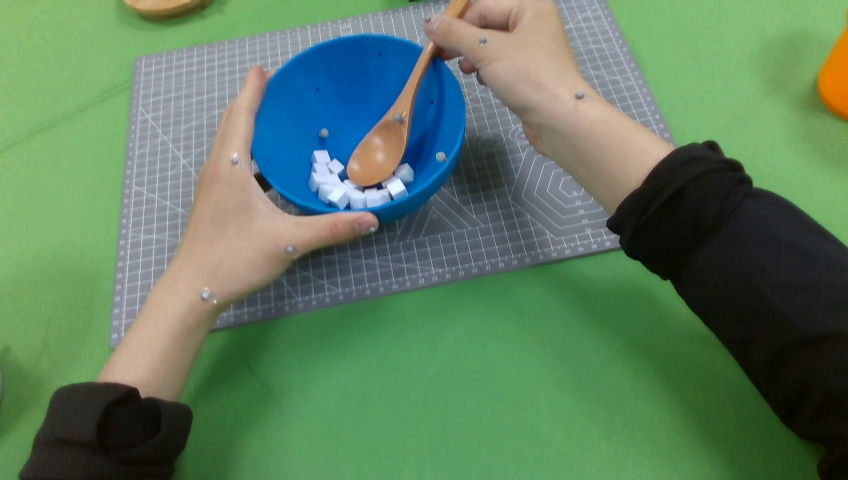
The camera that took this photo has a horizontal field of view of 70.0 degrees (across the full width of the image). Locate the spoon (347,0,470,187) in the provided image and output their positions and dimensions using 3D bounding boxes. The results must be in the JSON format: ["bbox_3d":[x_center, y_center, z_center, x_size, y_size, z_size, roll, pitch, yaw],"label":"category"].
[{"bbox_3d":[0.000,-0.123,0.432,0.041,0.022,0.194,36,102,34],"label":"spoon"}]

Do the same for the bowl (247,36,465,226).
[{"bbox_3d":[-0.044,-0.067,0.447,0.151,0.077,0.150,-2,64,4],"label":"bowl"}]

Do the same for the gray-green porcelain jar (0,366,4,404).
[{"bbox_3d":[-0.344,0.090,0.373,0.106,0.127,0.105,-2,60,5],"label":"gray-green porcelain jar"}]

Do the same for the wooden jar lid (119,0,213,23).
[{"bbox_3d":[-0.261,-0.264,0.627,0.108,0.021,0.107,-1,60,3],"label":"wooden jar lid"}]
